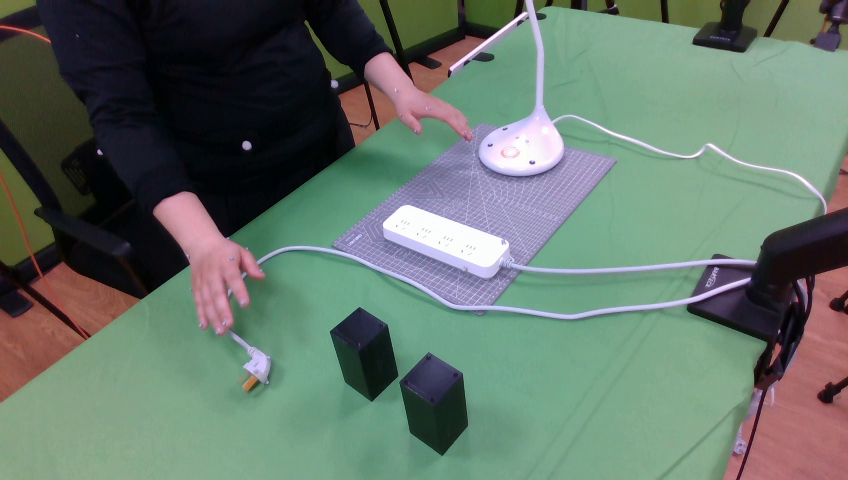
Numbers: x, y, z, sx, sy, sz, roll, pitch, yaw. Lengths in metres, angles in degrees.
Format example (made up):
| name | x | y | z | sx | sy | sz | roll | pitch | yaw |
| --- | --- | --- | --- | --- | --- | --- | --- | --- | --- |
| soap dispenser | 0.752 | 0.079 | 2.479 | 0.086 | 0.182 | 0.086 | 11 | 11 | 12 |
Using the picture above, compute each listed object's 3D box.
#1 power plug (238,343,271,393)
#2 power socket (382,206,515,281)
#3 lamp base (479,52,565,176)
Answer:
| name | x | y | z | sx | sy | sz | roll | pitch | yaw |
| --- | --- | --- | --- | --- | --- | --- | --- | --- | --- |
| power plug | -0.230 | 0.172 | 0.800 | 0.072 | 0.035 | 0.053 | 8 | 50 | 49 |
| power socket | 0.032 | 0.002 | 0.950 | 0.225 | 0.033 | 0.072 | 21 | 49 | 29 |
| lamp base | 0.181 | -0.235 | 1.093 | 0.159 | 0.181 | 0.179 | 18 | 44 | 27 |
